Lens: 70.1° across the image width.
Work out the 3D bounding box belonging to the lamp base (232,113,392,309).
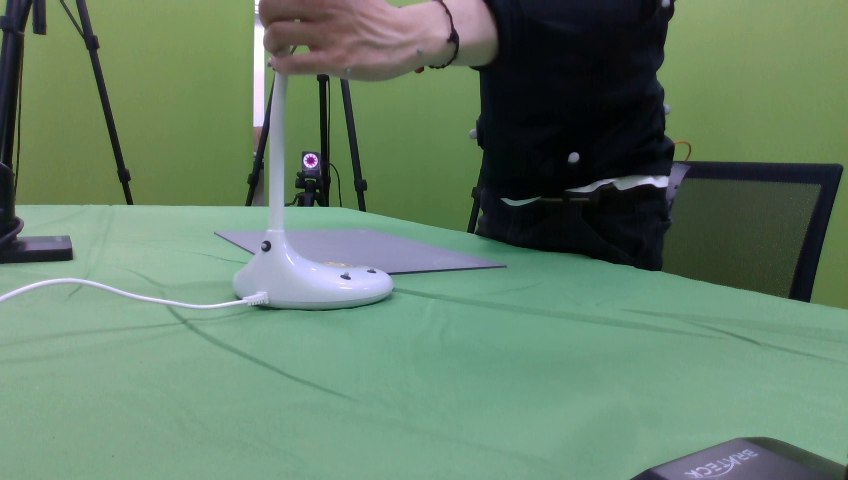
[{"bbox_3d":[-0.113,-0.031,0.593,0.160,0.180,0.179,4,10,18],"label":"lamp base"}]
